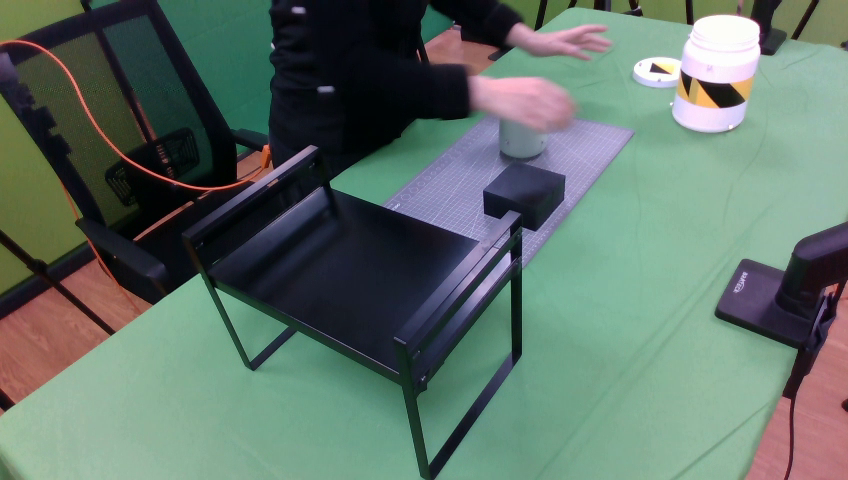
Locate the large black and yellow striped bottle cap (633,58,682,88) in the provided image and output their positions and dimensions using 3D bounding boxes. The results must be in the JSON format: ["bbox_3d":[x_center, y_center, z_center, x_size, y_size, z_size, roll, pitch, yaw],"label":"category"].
[{"bbox_3d":[0.522,-0.370,1.332,0.115,0.019,0.114,-3,42,3],"label":"large black and yellow striped bottle cap"}]

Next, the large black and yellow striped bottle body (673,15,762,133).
[{"bbox_3d":[0.546,-0.309,1.128,0.131,0.185,0.130,-4,41,4],"label":"large black and yellow striped bottle body"}]

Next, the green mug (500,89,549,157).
[{"bbox_3d":[0.195,-0.228,1.145,0.092,0.105,0.125,15,46,25],"label":"green mug"}]
